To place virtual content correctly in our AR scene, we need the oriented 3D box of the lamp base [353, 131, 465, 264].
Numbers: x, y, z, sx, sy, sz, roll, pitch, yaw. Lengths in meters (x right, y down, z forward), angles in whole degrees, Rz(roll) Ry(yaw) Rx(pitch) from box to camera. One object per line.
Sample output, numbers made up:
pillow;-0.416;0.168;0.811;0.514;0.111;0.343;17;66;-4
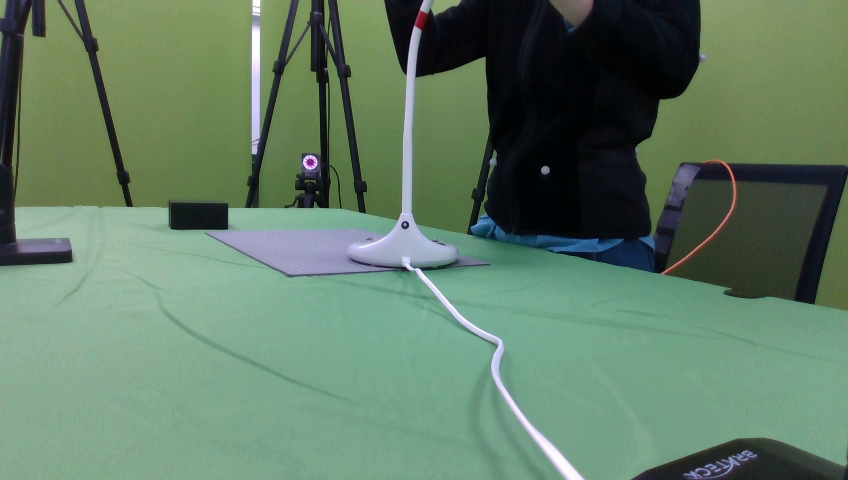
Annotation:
lamp base;-0.014;-0.062;0.851;0.161;0.180;0.178;-1;11;-20
